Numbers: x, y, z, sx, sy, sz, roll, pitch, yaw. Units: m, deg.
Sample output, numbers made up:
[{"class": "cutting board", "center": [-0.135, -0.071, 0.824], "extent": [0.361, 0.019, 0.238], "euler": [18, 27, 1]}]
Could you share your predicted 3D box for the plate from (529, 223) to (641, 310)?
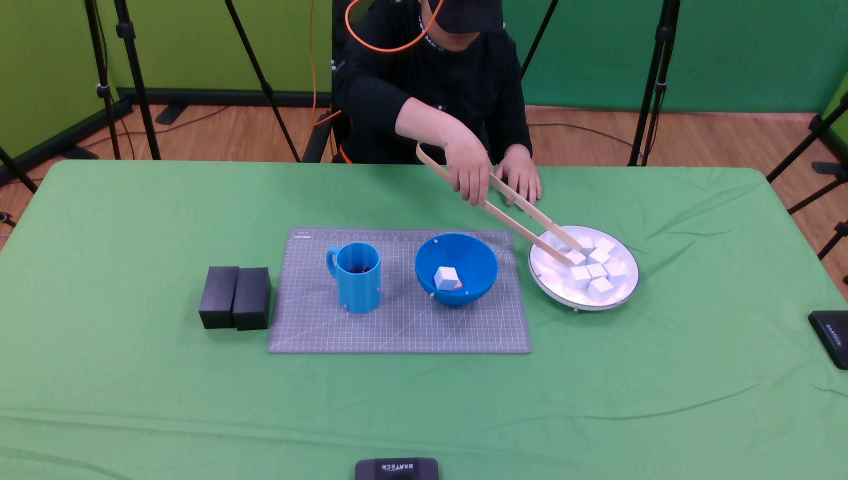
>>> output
[{"class": "plate", "center": [0.303, 0.053, 1.156], "extent": [0.209, 0.038, 0.208], "euler": [2, 46, -2]}]

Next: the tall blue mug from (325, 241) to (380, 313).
[{"class": "tall blue mug", "center": [-0.130, 0.063, 1.063], "extent": [0.107, 0.108, 0.077], "euler": [9, 47, 5]}]

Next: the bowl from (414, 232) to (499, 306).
[{"class": "bowl", "center": [0.056, 0.066, 1.095], "extent": [0.151, 0.077, 0.150], "euler": [2, 46, -2]}]

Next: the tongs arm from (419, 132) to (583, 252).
[{"class": "tongs arm", "center": [0.145, -0.093, 1.187], "extent": [0.384, 0.026, 0.050], "euler": [41, 63, 12]}]

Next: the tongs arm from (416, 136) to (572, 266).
[{"class": "tongs arm", "center": [0.128, -0.076, 1.174], "extent": [0.386, 0.028, 0.028], "euler": [39, 66, 11]}]
